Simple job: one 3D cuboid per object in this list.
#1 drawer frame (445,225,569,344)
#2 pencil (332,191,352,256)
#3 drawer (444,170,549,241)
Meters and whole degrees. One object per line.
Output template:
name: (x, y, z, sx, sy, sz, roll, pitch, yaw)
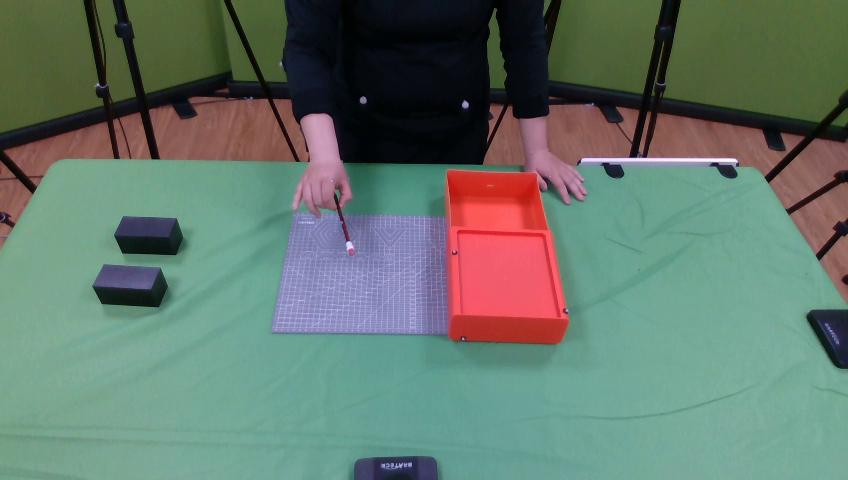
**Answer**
drawer frame: (0.141, 0.076, 1.089, 0.202, 0.083, 0.212, 2, 47, -3)
pencil: (-0.154, -0.034, 1.112, 0.012, 0.012, 0.192, -9, 41, -13)
drawer: (0.140, -0.049, 1.217, 0.194, 0.073, 0.210, 2, 43, -3)
